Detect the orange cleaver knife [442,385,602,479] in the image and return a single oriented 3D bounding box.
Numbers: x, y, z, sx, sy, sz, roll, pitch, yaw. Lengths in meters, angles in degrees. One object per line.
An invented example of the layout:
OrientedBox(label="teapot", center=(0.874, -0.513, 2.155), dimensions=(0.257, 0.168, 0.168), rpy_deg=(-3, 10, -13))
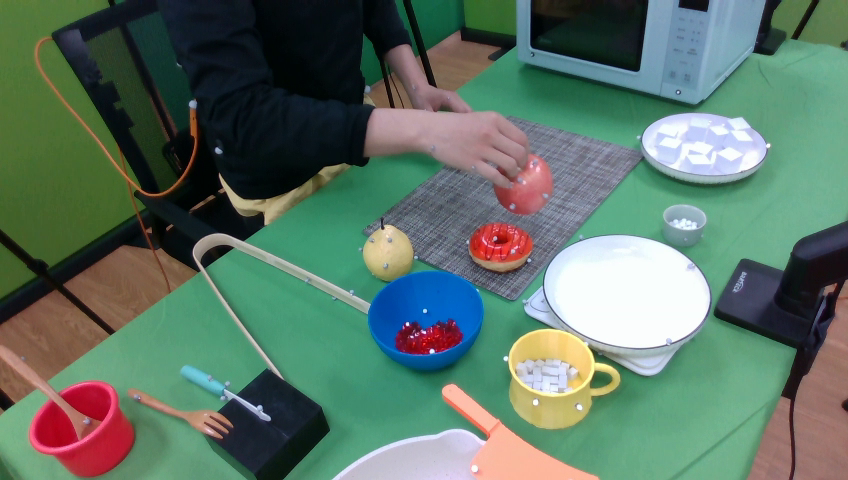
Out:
OrientedBox(label="orange cleaver knife", center=(0.086, 0.219, 0.612), dimensions=(0.209, 0.012, 0.077), rpy_deg=(28, 49, 35))

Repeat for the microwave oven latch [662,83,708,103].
OrientedBox(label="microwave oven latch", center=(0.517, -0.296, 1.204), dimensions=(0.078, 0.029, 0.030), rpy_deg=(28, 52, 35))

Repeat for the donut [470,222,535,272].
OrientedBox(label="donut", center=(0.119, 0.009, 0.923), dimensions=(0.099, 0.048, 0.098), rpy_deg=(-4, 38, 3))

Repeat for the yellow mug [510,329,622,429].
OrientedBox(label="yellow mug", center=(0.168, 0.164, 0.721), dimensions=(0.130, 0.064, 0.099), rpy_deg=(0, 40, 8))

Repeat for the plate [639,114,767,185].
OrientedBox(label="plate", center=(0.489, -0.157, 1.074), dimensions=(0.207, 0.039, 0.206), rpy_deg=(-4, 40, 4))

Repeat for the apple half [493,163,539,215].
OrientedBox(label="apple half", center=(0.116, -0.060, 0.801), dimensions=(0.033, 0.082, 0.080), rpy_deg=(-37, 48, -22))

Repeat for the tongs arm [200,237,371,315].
OrientedBox(label="tongs arm", center=(-0.209, 0.062, 0.924), dimensions=(0.381, 0.026, 0.051), rpy_deg=(22, 51, 32))

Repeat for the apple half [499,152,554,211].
OrientedBox(label="apple half", center=(0.144, -0.083, 0.816), dimensions=(0.053, 0.075, 0.080), rpy_deg=(-36, 39, -22))

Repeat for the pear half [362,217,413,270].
OrientedBox(label="pear half", center=(-0.059, 0.002, 0.913), dimensions=(0.076, 0.110, 0.055), rpy_deg=(-14, 40, -13))

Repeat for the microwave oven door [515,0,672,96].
OrientedBox(label="microwave oven door", center=(0.343, -0.454, 1.259), dimensions=(0.353, 0.245, 0.039), rpy_deg=(26, 51, 33))

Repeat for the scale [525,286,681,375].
OrientedBox(label="scale", center=(0.254, 0.091, 0.821), dimensions=(0.199, 0.032, 0.149), rpy_deg=(28, 51, 35))

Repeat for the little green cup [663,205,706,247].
OrientedBox(label="little green cup", center=(0.396, -0.021, 0.926), dimensions=(0.061, 0.039, 0.061), rpy_deg=(-4, 40, 3))

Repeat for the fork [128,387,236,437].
OrientedBox(label="fork", center=(-0.305, 0.207, 0.744), dimensions=(0.206, 0.019, 0.028), rpy_deg=(3, 40, 36))

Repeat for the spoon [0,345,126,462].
OrientedBox(label="spoon", center=(-0.434, 0.192, 0.720), dimensions=(0.194, 0.021, 0.042), rpy_deg=(47, 53, -7))

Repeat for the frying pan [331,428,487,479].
OrientedBox(label="frying pan", center=(-0.089, 0.306, 0.564), dimensions=(0.487, 0.103, 0.306), rpy_deg=(10, 41, 7))

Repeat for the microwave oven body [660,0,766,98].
OrientedBox(label="microwave oven body", center=(0.472, -0.513, 1.317), dimensions=(0.438, 0.261, 0.327), rpy_deg=(26, 51, 34))

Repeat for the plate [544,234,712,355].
OrientedBox(label="plate", center=(0.262, 0.072, 0.792), dimensions=(0.209, 0.038, 0.208), rpy_deg=(-4, 41, 4))

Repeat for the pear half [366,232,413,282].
OrientedBox(label="pear half", center=(-0.048, 0.031, 0.893), dimensions=(0.071, 0.088, 0.031), rpy_deg=(-16, 40, -13))

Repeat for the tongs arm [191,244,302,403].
OrientedBox(label="tongs arm", center=(-0.268, 0.109, 0.881), dimensions=(0.028, 0.028, 0.384), rpy_deg=(-35, 46, -19))

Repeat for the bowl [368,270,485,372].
OrientedBox(label="bowl", center=(0.007, 0.119, 0.791), dimensions=(0.151, 0.077, 0.150), rpy_deg=(-5, 40, 4))

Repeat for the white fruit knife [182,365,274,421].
OrientedBox(label="white fruit knife", center=(-0.246, 0.188, 0.747), dimensions=(0.205, 0.027, 0.016), rpy_deg=(9, 41, 41))
